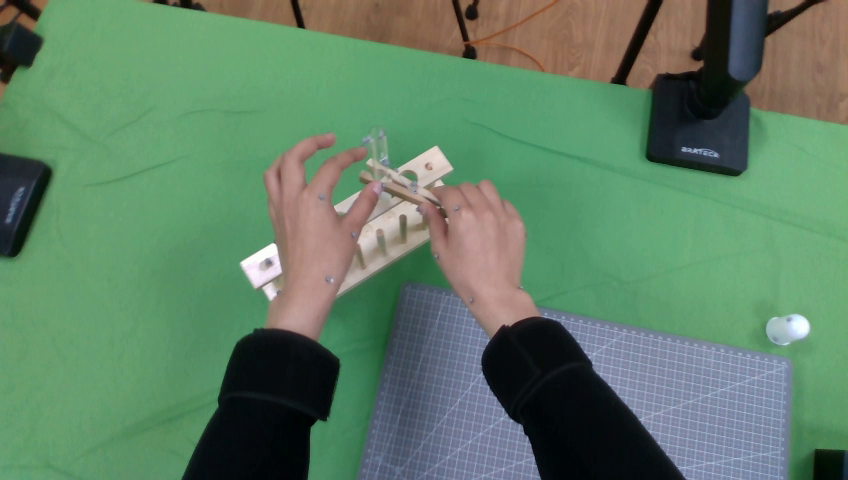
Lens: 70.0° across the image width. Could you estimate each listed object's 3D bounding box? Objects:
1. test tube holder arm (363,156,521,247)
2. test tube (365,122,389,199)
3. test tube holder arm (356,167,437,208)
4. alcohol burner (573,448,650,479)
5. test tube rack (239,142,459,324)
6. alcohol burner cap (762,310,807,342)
[{"bbox_3d":[0.016,-0.039,0.599,0.178,0.015,0.013,27,78,12],"label":"test tube holder arm"},{"bbox_3d":[-0.045,-0.071,0.597,0.017,0.151,0.017,0,70,-1],"label":"test tube"},{"bbox_3d":[-0.026,-0.052,0.607,0.087,0.015,0.010,21,76,10],"label":"test tube holder arm"},{"bbox_3d":[0.187,0.242,0.589,0.078,0.119,0.077,1,72,-2],"label":"alcohol burner"},{"bbox_3d":[-0.073,-0.005,0.674,0.242,0.085,0.066,-32,76,-9],"label":"test tube rack"},{"bbox_3d":[0.405,0.094,0.675,0.034,0.048,0.033,0,73,0],"label":"alcohol burner cap"}]
